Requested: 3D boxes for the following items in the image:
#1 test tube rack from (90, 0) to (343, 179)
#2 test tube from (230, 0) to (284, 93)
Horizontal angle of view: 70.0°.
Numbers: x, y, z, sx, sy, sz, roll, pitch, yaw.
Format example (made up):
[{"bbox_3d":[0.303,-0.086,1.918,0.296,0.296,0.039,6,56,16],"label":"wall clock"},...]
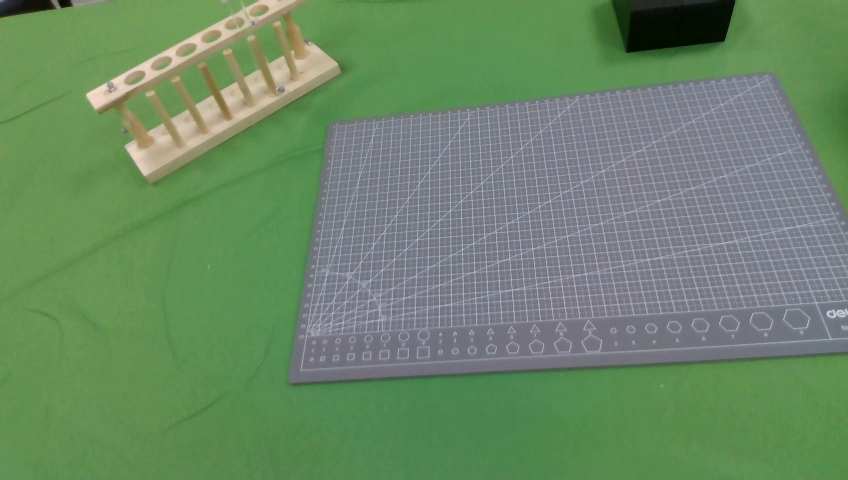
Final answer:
[{"bbox_3d":[-0.214,-0.174,0.653,0.242,0.086,0.066,-35,55,-15],"label":"test tube rack"},{"bbox_3d":[-0.175,-0.214,0.619,0.017,0.152,0.017,-6,51,8],"label":"test tube"}]
